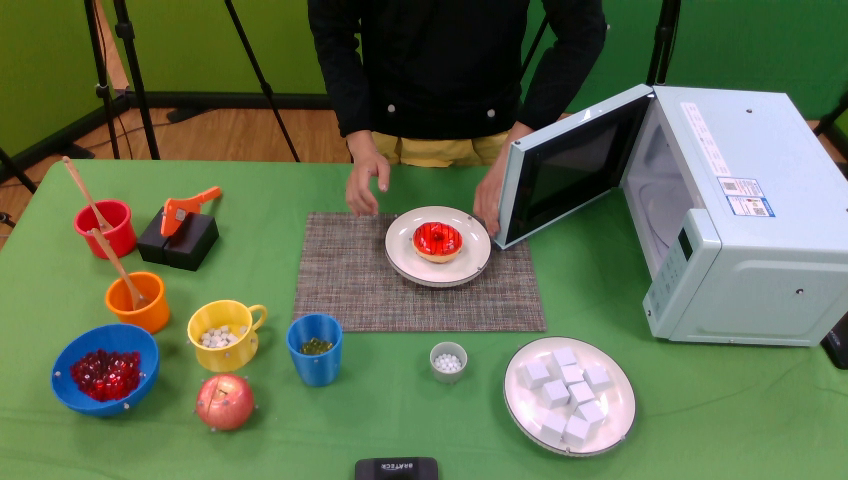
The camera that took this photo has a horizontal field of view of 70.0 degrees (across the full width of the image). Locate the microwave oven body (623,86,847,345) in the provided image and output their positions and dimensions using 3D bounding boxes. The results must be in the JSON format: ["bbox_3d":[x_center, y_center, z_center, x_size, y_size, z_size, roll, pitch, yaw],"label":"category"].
[{"bbox_3d":[0.568,-0.053,1.118,0.326,0.261,0.439,2,45,-1],"label":"microwave oven body"}]

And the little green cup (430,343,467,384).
[{"bbox_3d":[0.039,0.203,0.994,0.061,0.039,0.061,2,46,-2],"label":"little green cup"}]

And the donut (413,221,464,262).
[{"bbox_3d":[0.028,0.002,1.166,0.099,0.048,0.098,2,44,-2],"label":"donut"}]

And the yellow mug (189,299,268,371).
[{"bbox_3d":[-0.316,0.148,1.002,0.131,0.064,0.099,-32,56,-32],"label":"yellow mug"}]

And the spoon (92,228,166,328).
[{"bbox_3d":[-0.495,0.063,1.014,0.041,0.194,0.021,-34,12,-31],"label":"spoon"}]

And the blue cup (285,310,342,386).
[{"bbox_3d":[-0.170,0.179,0.958,0.093,0.101,0.092,1,44,-1],"label":"blue cup"}]

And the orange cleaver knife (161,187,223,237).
[{"bbox_3d":[-0.448,-0.058,1.180,0.012,0.077,0.211,13,17,6],"label":"orange cleaver knife"}]

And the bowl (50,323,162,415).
[{"bbox_3d":[-0.472,0.209,0.924,0.151,0.077,0.150,3,45,-2],"label":"bowl"}]

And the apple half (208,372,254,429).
[{"bbox_3d":[-0.282,0.244,0.908,0.053,0.075,0.080,7,43,-1],"label":"apple half"}]

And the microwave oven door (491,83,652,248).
[{"bbox_3d":[0.290,-0.148,1.183,0.356,0.245,0.039,-27,54,-26],"label":"microwave oven door"}]

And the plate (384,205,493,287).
[{"bbox_3d":[0.027,0.015,1.169,0.209,0.038,0.208,3,46,-2],"label":"plate"}]

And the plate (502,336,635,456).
[{"bbox_3d":[0.225,0.248,0.964,0.208,0.039,0.206,2,46,-2],"label":"plate"}]

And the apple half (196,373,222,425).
[{"bbox_3d":[-0.322,0.239,0.907,0.033,0.081,0.081,7,46,-1],"label":"apple half"}]

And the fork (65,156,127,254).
[{"bbox_3d":[-0.614,-0.064,1.130,0.028,0.018,0.207,-29,97,-16],"label":"fork"}]

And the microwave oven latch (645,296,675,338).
[{"bbox_3d":[0.412,0.134,1.061,0.030,0.029,0.078,3,45,0],"label":"microwave oven latch"}]
